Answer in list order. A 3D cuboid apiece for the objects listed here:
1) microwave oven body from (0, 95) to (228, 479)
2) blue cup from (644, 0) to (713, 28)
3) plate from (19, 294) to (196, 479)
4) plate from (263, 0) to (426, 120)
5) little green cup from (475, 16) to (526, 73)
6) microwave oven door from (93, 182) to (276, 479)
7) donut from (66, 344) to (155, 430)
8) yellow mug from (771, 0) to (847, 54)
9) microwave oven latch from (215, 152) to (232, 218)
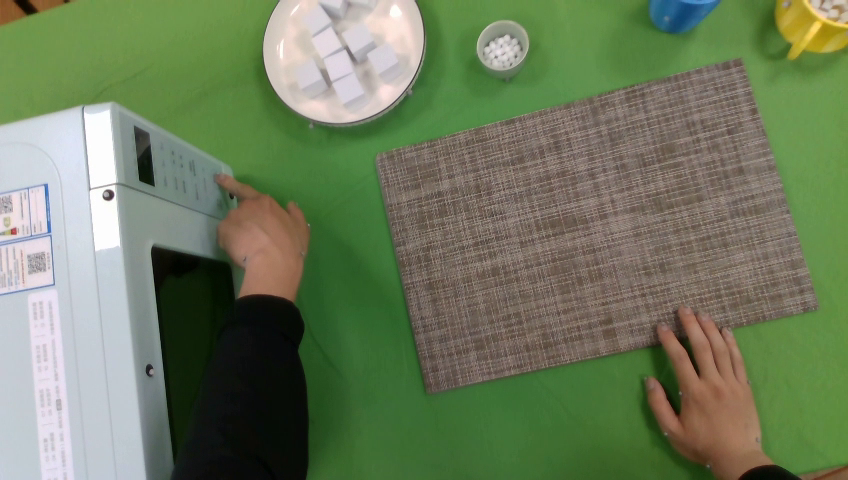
[{"bbox_3d":[-0.382,0.123,0.649,0.326,0.261,0.440,-11,83,6],"label":"microwave oven body"},{"bbox_3d":[0.291,-0.289,0.682,0.092,0.100,0.092,-1,85,7],"label":"blue cup"},{"bbox_3d":[-0.356,0.166,0.694,0.209,0.038,0.208,-1,84,8],"label":"plate"},{"bbox_3d":[-0.098,-0.248,0.765,0.207,0.039,0.207,-1,84,8],"label":"plate"},{"bbox_3d":[0.093,-0.235,0.736,0.061,0.039,0.061,-1,83,9],"label":"little green cup"},{"bbox_3d":[-0.233,0.136,0.621,0.039,0.245,0.354,-11,82,7],"label":"microwave oven door"},{"bbox_3d":[-0.353,0.166,0.683,0.099,0.048,0.099,0,93,5],"label":"donut"},{"bbox_3d":[0.444,-0.265,0.674,0.099,0.064,0.131,35,91,11],"label":"yellow mug"},{"bbox_3d":[-0.256,-0.067,0.749,0.030,0.029,0.079,-4,84,7],"label":"microwave oven latch"}]
